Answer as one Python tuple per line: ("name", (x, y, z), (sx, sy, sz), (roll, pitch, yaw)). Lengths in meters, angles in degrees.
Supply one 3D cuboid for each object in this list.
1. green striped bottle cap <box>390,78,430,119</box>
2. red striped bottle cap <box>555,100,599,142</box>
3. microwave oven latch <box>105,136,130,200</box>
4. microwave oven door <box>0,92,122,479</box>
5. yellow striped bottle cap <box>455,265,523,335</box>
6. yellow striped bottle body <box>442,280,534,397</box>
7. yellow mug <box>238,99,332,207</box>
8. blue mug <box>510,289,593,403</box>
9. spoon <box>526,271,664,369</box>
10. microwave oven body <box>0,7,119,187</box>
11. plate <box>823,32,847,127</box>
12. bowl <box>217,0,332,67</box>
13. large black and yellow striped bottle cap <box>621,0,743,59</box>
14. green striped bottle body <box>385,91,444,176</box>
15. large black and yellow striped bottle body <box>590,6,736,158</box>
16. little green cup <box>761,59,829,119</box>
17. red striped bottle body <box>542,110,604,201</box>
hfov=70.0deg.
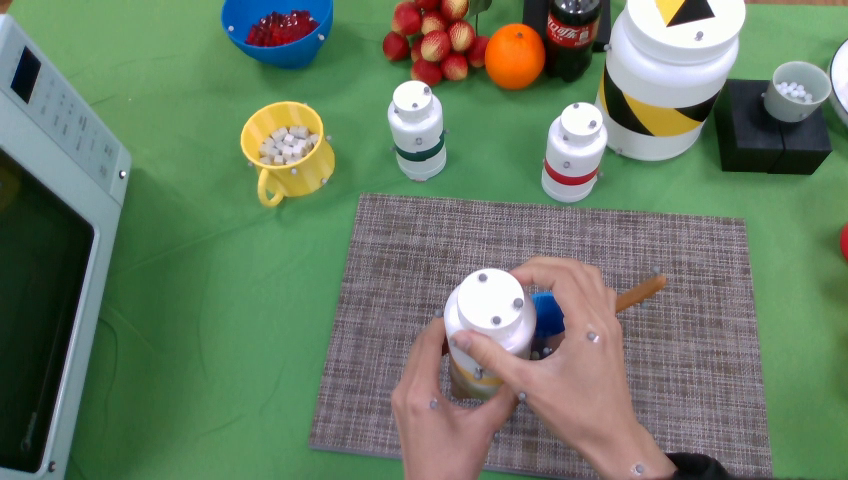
("green striped bottle cap", (-0.016, -0.156, 0.667), (0.044, 0.020, 0.044), (-2, 62, 4))
("red striped bottle cap", (0.161, -0.125, 0.635), (0.044, 0.018, 0.044), (0, 62, 0))
("microwave oven latch", (-0.387, -0.088, 0.749), (0.030, 0.030, 0.078), (-2, 64, 3))
("microwave oven door", (-0.390, 0.061, 0.560), (0.039, 0.246, 0.352), (-4, 63, 4))
("yellow striped bottle cap", (0.042, 0.038, 0.392), (0.044, 0.019, 0.044), (-2, 61, 4))
("yellow striped bottle body", (0.046, 0.065, 0.436), (0.063, 0.121, 0.062), (-2, 58, 4))
("yellow mug", (-0.174, -0.101, 0.742), (0.099, 0.064, 0.130), (13, 66, 11))
("blue mug", (0.100, 0.113, 0.585), (0.116, 0.107, 0.081), (-29, 64, -9))
("spoon", (0.138, 0.079, 0.550), (0.022, 0.194, 0.041), (5, 56, -33))
("microwave oven body", (-0.536, 0.036, 0.591), (0.326, 0.262, 0.438), (-4, 64, 3))
("plate", (0.589, -0.179, 0.731), (0.209, 0.038, 0.207), (-2, 64, 4))
("bowl", (-0.194, -0.293, 0.833), (0.151, 0.077, 0.150), (-2, 63, 4))
("large black and yellow striped bottle cap", (0.258, -0.231, 0.609), (0.115, 0.019, 0.114), (-2, 62, 5))
("green striped bottle body", (-0.010, -0.133, 0.713), (0.063, 0.120, 0.062), (-2, 63, 4))
("large black and yellow striped bottle body", (0.266, -0.194, 0.684), (0.131, 0.185, 0.129), (-2, 63, 4))
("little green cup", (0.415, -0.168, 0.683), (0.061, 0.039, 0.061), (-1, 61, 2))
("red striped bottle body", (0.167, -0.100, 0.682), (0.063, 0.121, 0.062), (-3, 62, 6))
